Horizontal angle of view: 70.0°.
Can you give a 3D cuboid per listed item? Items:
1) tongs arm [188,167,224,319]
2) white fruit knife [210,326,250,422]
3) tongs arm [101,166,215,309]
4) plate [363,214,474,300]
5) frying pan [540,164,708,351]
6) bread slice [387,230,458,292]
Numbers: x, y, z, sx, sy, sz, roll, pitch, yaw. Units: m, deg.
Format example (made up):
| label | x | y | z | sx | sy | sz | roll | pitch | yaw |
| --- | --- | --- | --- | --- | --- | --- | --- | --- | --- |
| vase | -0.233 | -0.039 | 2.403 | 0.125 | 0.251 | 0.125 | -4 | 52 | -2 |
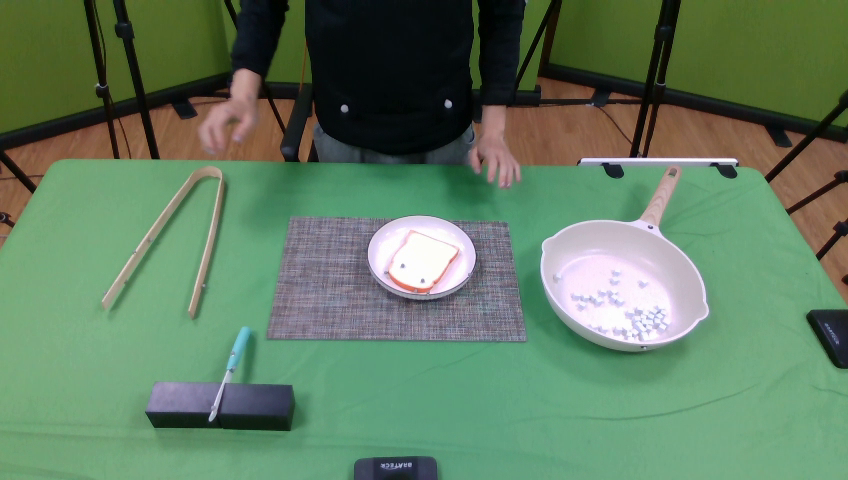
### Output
| label | x | y | z | sx | sy | sz | roll | pitch | yaw |
| --- | --- | --- | --- | --- | --- | --- | --- | --- | --- |
| tongs arm | -0.420 | -0.009 | 1.170 | 0.028 | 0.028 | 0.385 | -3 | 47 | -4 |
| white fruit knife | -0.301 | 0.201 | 0.942 | 0.016 | 0.027 | 0.206 | 2 | 32 | -2 |
| tongs arm | -0.499 | -0.018 | 1.166 | 0.051 | 0.026 | 0.382 | 9 | 45 | 2 |
| plate | -0.010 | 0.036 | 1.146 | 0.208 | 0.039 | 0.206 | 3 | 46 | -2 |
| frying pan | 0.407 | 0.012 | 1.160 | 0.306 | 0.103 | 0.486 | 26 | 58 | 18 |
| bread slice | -0.007 | 0.043 | 1.142 | 0.107 | 0.018 | 0.134 | 18 | 46 | 14 |
